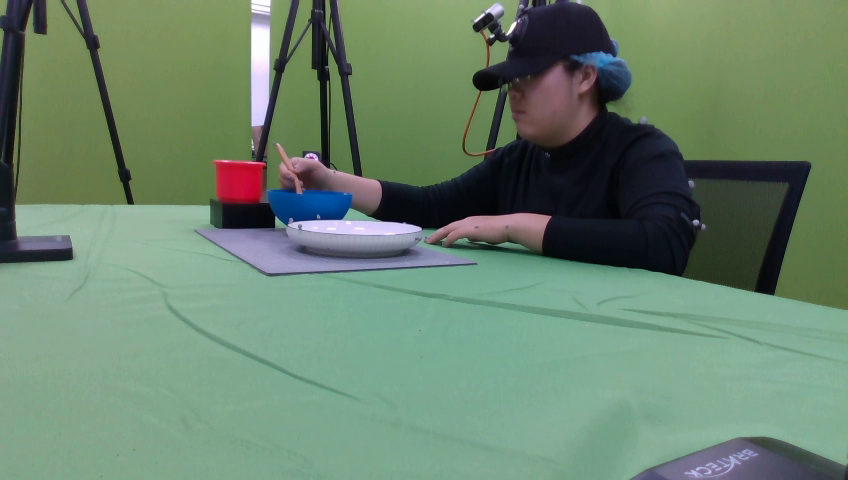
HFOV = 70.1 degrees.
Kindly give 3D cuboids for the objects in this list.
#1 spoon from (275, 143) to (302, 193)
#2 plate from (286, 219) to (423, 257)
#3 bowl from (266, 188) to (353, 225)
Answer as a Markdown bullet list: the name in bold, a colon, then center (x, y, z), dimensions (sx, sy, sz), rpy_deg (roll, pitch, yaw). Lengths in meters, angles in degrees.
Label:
- **spoon**: center (-0.237, -0.104, 1.108), dimensions (0.021, 0.193, 0.042), rpy_deg (-36, -25, 27)
- **plate**: center (-0.105, -0.004, 0.922), dimensions (0.208, 0.039, 0.207), rpy_deg (3, 8, 0)
- **bowl**: center (-0.204, -0.049, 1.080), dimensions (0.151, 0.077, 0.151), rpy_deg (3, 7, 0)
